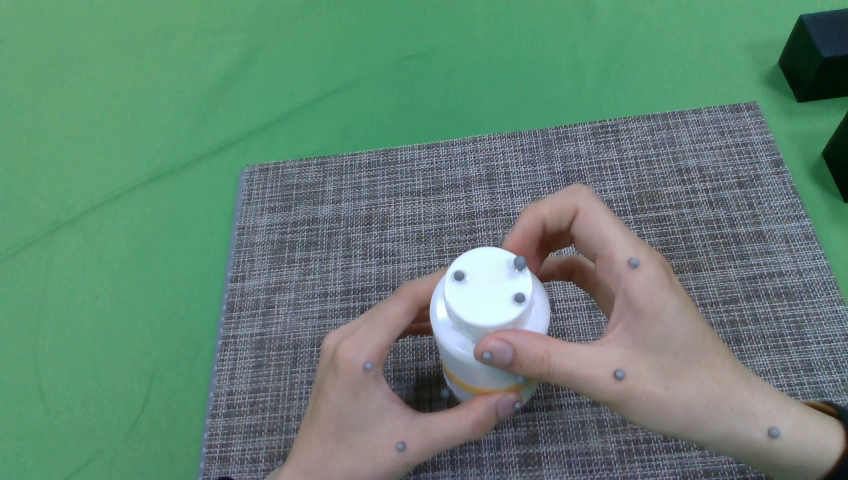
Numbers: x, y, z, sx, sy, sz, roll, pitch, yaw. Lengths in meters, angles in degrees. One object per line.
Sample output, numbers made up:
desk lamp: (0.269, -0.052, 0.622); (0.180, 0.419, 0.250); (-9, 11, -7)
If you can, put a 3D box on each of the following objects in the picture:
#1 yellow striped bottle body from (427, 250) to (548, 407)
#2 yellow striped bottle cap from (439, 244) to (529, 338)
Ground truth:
yellow striped bottle body: (0.035, 0.049, 0.341); (0.063, 0.121, 0.062); (-2, 62, 3)
yellow striped bottle cap: (0.029, 0.024, 0.295); (0.044, 0.019, 0.044); (-3, 58, 5)
